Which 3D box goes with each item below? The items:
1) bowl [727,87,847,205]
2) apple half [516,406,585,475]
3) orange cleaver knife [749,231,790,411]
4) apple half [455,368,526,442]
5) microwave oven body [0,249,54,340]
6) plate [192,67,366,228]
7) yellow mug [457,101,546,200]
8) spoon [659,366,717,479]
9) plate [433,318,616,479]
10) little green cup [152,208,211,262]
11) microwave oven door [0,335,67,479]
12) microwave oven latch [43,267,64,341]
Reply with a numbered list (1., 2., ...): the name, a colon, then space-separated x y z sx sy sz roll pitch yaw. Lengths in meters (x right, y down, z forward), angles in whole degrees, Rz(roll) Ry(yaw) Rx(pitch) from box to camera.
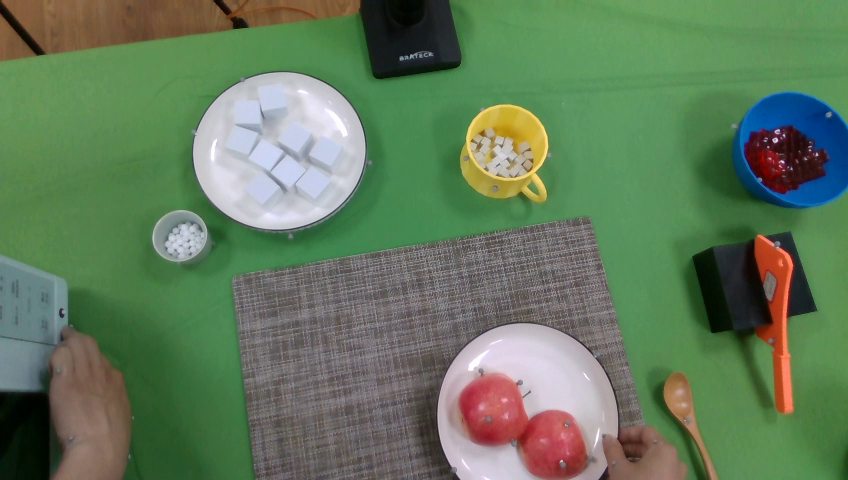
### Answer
1. bowl: 0.448 -0.108 0.771 0.151 0.077 0.150 1 77 -3
2. apple half: 0.144 0.227 0.681 0.081 0.033 0.081 1 73 -2
3. orange cleaver knife: 0.408 0.095 0.718 0.012 0.077 0.212 -9 101 -2
4. apple half: 0.075 0.185 0.676 0.075 0.053 0.080 -13 78 -4
5. microwave oven body: -0.534 0.235 0.523 0.326 0.261 0.439 -7 78 -6
6. plate: -0.175 -0.112 0.749 0.208 0.039 0.206 1 77 -4
7. yellow mug: 0.105 -0.102 0.751 0.100 0.064 0.130 -38 83 -12
8. spoon: 0.319 0.243 0.707 0.042 0.021 0.193 -13 77 -28
9. plate: 0.112 0.194 0.693 0.209 0.038 0.208 1 77 -4
10. little green cup: -0.283 -0.004 0.713 0.061 0.039 0.061 1 77 -5
11. microwave oven door: -0.384 0.258 0.523 0.039 0.244 0.354 -7 77 -6
12. microwave oven latch: -0.416 0.071 0.669 0.030 0.029 0.079 -6 78 -6
